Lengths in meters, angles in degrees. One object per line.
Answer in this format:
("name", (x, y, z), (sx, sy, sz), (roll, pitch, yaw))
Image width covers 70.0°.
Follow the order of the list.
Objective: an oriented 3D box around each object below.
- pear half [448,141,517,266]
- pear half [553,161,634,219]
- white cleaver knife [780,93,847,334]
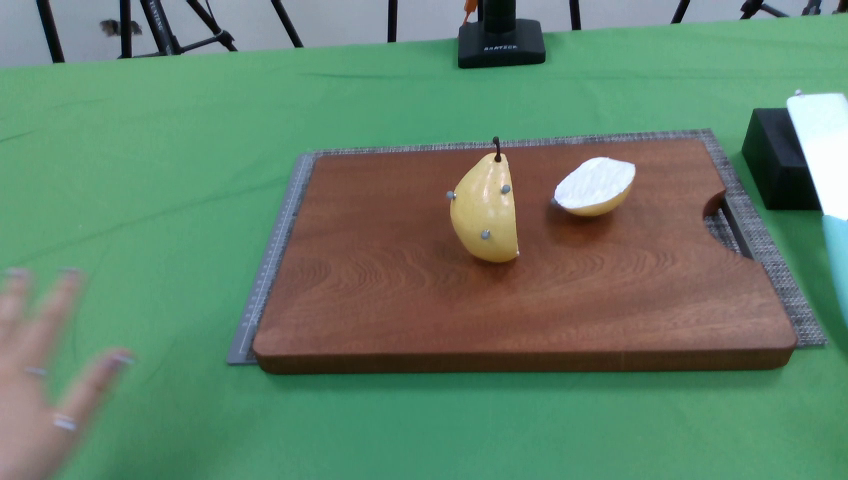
("pear half", (0.046, -0.031, 0.490), (0.056, 0.111, 0.075), (-8, 38, -1))
("pear half", (0.153, -0.041, 0.543), (0.070, 0.031, 0.087), (-7, 26, 22))
("white cleaver knife", (0.358, -0.027, 0.503), (0.066, 0.022, 0.284), (1, 56, 11))
